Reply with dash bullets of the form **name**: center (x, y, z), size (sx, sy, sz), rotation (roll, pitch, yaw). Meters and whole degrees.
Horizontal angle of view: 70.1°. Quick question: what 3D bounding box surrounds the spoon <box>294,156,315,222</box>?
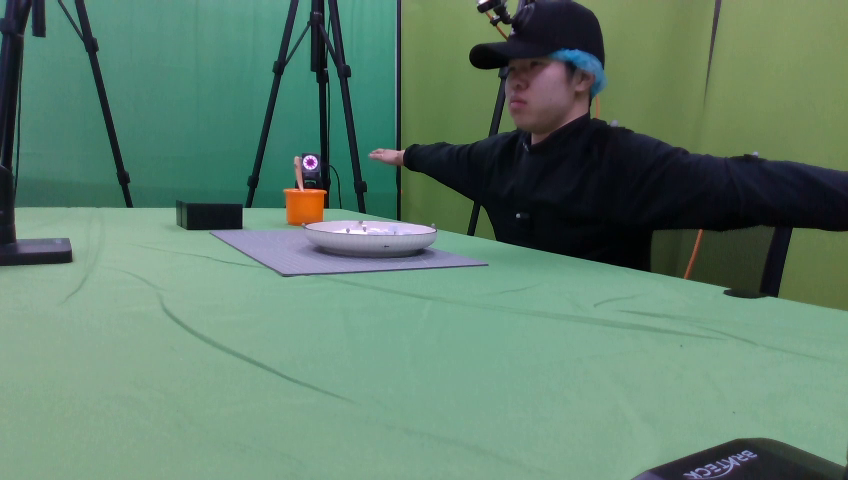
- **spoon**: center (-0.271, -0.116, 1.328), size (0.042, 0.021, 0.193), rotation (-2, 48, -21)

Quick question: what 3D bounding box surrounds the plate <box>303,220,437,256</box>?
- **plate**: center (-0.084, -0.003, 0.951), size (0.209, 0.038, 0.209), rotation (3, 7, 0)

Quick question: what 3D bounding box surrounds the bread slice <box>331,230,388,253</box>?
- **bread slice**: center (-0.088, 0.000, 0.947), size (0.105, 0.019, 0.131), rotation (-4, 11, -44)
